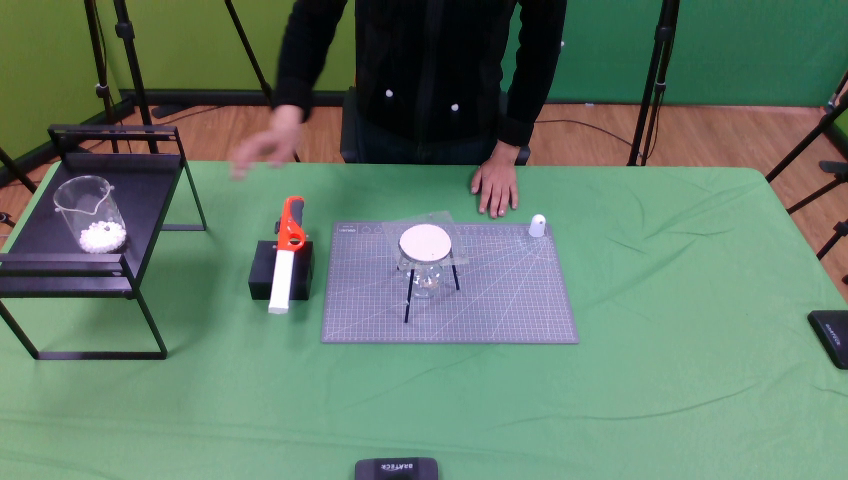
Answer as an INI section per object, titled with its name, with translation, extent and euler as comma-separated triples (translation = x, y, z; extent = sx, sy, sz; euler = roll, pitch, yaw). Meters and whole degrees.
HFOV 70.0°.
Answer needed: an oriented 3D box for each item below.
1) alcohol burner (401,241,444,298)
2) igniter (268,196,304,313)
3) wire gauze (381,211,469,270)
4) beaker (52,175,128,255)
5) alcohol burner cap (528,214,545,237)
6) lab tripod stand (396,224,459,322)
[alcohol burner]
translation = -0.001, 0.048, 1.084
extent = 0.078, 0.119, 0.077
euler = 2, 44, -2
[igniter]
translation = -0.249, 0.016, 1.095
extent = 0.057, 0.025, 0.274
euler = 7, 46, -12
[wire gauze]
translation = 0.000, 0.001, 1.023
extent = 0.125, 0.011, 0.120
euler = -9, 48, -13
[beaker]
translation = -0.482, -0.032, 0.888
extent = 0.074, 0.101, 0.083
euler = -28, 55, -27
[alcohol burner cap]
translation = 0.231, -0.032, 1.230
extent = 0.034, 0.048, 0.033
euler = 2, 46, -1
[lab tripod stand]
translation = -0.004, 0.053, 1.066
extent = 0.148, 0.132, 0.147
euler = 3, 48, -3
